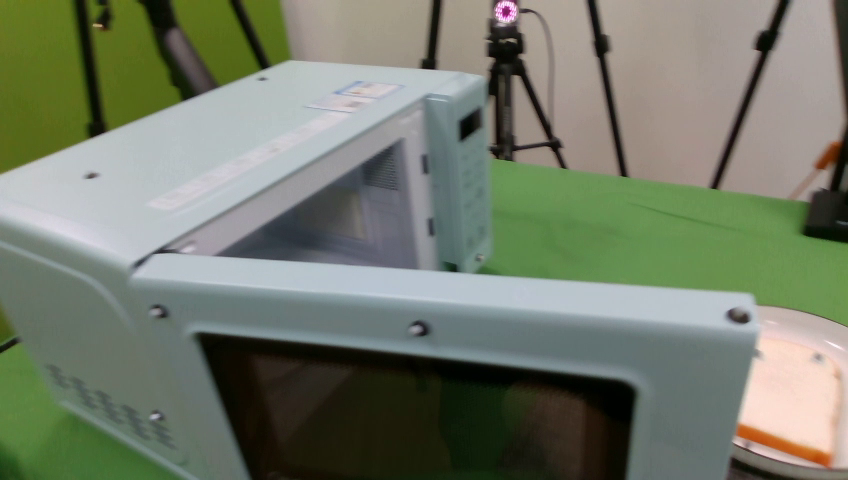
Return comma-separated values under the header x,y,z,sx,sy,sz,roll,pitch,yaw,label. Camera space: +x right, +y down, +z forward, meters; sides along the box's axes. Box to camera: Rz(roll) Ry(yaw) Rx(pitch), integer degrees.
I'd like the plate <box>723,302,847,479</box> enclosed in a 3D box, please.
x,y,z,sx,sy,sz,roll,pitch,yaw,label
0.316,0.132,0.545,0.209,0.038,0.207,-5,31,4,plate

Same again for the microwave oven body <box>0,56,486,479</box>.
x,y,z,sx,sy,sz,roll,pitch,yaw,label
-0.176,-0.007,0.665,0.324,0.262,0.440,13,37,29,microwave oven body

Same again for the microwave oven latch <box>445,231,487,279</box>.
x,y,z,sx,sy,sz,roll,pitch,yaw,label
0.053,0.017,0.767,0.030,0.030,0.079,14,37,30,microwave oven latch

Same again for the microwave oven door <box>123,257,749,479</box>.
x,y,z,sx,sy,sz,roll,pitch,yaw,label
-0.003,0.126,0.394,0.354,0.246,0.039,3,32,17,microwave oven door

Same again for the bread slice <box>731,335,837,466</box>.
x,y,z,sx,sy,sz,roll,pitch,yaw,label
0.313,0.134,0.548,0.104,0.019,0.131,14,38,31,bread slice
